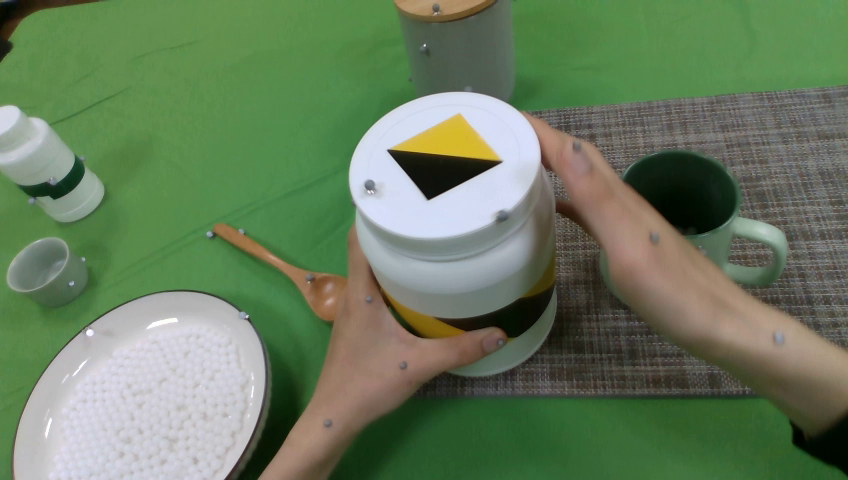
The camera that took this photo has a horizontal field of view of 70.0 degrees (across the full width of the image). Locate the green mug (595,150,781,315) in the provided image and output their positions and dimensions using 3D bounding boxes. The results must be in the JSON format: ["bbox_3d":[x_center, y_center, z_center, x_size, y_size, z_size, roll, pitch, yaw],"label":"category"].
[{"bbox_3d":[0.192,0.001,0.446,0.124,0.106,0.092,16,60,21],"label":"green mug"}]

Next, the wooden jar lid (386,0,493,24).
[{"bbox_3d":[0.019,-0.225,0.549,0.108,0.021,0.107,-8,53,10],"label":"wooden jar lid"}]

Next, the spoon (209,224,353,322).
[{"bbox_3d":[-0.137,0.022,0.556,0.192,0.022,0.041,27,80,26],"label":"spoon"}]

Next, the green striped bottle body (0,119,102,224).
[{"bbox_3d":[-0.391,-0.074,0.614,0.063,0.120,0.062,-6,55,9],"label":"green striped bottle body"}]

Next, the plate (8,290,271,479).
[{"bbox_3d":[-0.219,0.138,0.484,0.209,0.038,0.207,-5,55,8],"label":"plate"}]

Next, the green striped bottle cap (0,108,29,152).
[{"bbox_3d":[-0.400,-0.104,0.573,0.044,0.020,0.044,-4,56,6],"label":"green striped bottle cap"}]

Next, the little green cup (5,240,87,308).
[{"bbox_3d":[-0.361,0.035,0.584,0.061,0.039,0.061,-6,53,8],"label":"little green cup"}]

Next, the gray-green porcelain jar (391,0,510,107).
[{"bbox_3d":[0.030,-0.186,0.598,0.106,0.128,0.105,-6,51,7],"label":"gray-green porcelain jar"}]

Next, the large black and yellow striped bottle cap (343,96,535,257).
[{"bbox_3d":[0.009,-0.041,0.361,0.115,0.019,0.114,-5,54,7],"label":"large black and yellow striped bottle cap"}]

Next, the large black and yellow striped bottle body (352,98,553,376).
[{"bbox_3d":[0.025,0.004,0.429,0.130,0.186,0.129,-6,55,8],"label":"large black and yellow striped bottle body"}]
